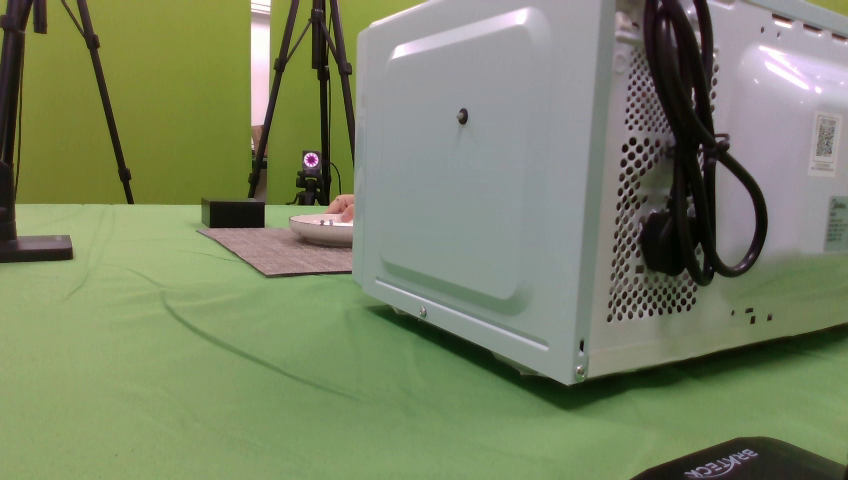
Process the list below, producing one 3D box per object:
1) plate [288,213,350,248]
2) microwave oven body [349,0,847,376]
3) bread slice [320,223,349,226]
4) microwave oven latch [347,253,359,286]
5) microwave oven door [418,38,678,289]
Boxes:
[{"bbox_3d":[-0.121,-0.017,1.008,0.209,0.038,0.209,3,8,0],"label":"plate"},{"bbox_3d":[0.199,-0.053,0.539,0.444,0.260,0.324,-1,7,-32],"label":"microwave oven body"},{"bbox_3d":[-0.122,-0.015,1.004,0.131,0.019,0.105,4,7,12],"label":"bread slice"},{"bbox_3d":[-0.034,0.028,0.581,0.079,0.029,0.030,-1,7,-31],"label":"microwave oven latch"},{"bbox_3d":[0.159,-0.078,0.684,0.358,0.243,0.039,-2,9,-32],"label":"microwave oven door"}]
